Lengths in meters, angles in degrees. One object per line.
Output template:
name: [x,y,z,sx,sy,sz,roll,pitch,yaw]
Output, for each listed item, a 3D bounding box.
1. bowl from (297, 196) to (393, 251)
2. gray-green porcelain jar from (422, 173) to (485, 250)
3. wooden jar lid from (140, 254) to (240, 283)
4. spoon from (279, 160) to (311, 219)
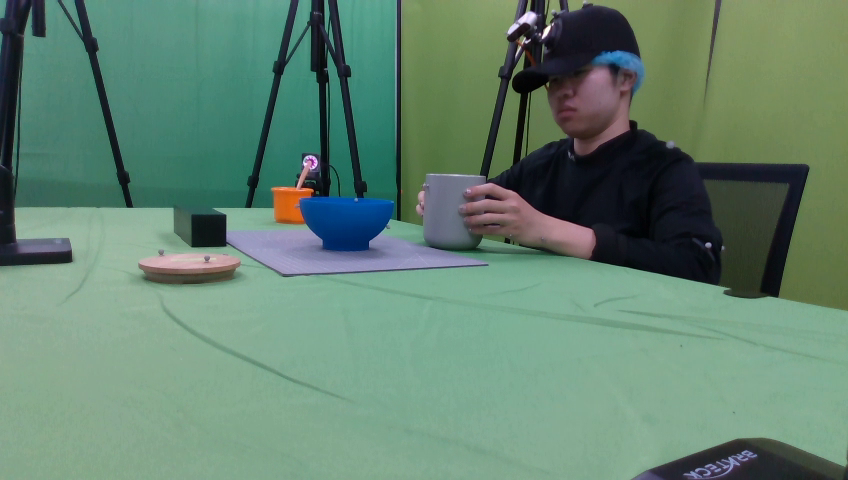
bowl: [-0.125,-0.026,0.958,0.151,0.077,0.151,2,7,0]
gray-green porcelain jar: [0.050,-0.050,1.040,0.106,0.126,0.106,2,8,0]
wooden jar lid: [-0.269,0.032,0.698,0.108,0.020,0.108,2,5,0]
spoon: [-0.285,-0.117,1.371,0.041,0.193,0.022,3,-37,11]
